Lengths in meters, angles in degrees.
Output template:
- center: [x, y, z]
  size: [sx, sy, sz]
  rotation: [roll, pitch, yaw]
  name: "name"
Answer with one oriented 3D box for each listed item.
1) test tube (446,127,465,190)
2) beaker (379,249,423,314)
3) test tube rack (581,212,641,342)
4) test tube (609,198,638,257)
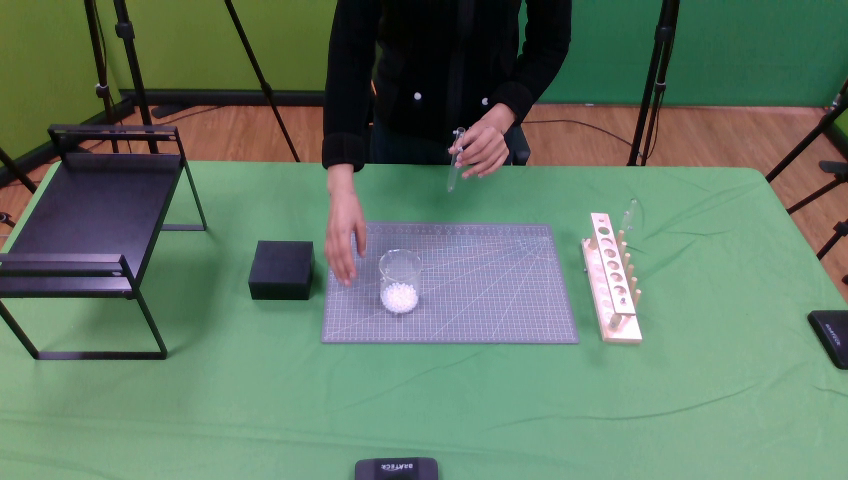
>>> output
- center: [0.058, -0.150, 1.135]
  size: [0.017, 0.151, 0.017]
  rotation: [4, 49, -4]
  name: "test tube"
- center: [-0.044, 0.074, 1.066]
  size: [0.074, 0.101, 0.083]
  rotation: [-22, 51, -23]
  name: "beaker"
- center: [0.351, 0.063, 1.121]
  size: [0.067, 0.085, 0.241]
  rotation: [3, 46, -1]
  name: "test tube rack"
- center: [0.375, -0.021, 1.141]
  size: [0.017, 0.151, 0.017]
  rotation: [2, 45, -2]
  name: "test tube"
